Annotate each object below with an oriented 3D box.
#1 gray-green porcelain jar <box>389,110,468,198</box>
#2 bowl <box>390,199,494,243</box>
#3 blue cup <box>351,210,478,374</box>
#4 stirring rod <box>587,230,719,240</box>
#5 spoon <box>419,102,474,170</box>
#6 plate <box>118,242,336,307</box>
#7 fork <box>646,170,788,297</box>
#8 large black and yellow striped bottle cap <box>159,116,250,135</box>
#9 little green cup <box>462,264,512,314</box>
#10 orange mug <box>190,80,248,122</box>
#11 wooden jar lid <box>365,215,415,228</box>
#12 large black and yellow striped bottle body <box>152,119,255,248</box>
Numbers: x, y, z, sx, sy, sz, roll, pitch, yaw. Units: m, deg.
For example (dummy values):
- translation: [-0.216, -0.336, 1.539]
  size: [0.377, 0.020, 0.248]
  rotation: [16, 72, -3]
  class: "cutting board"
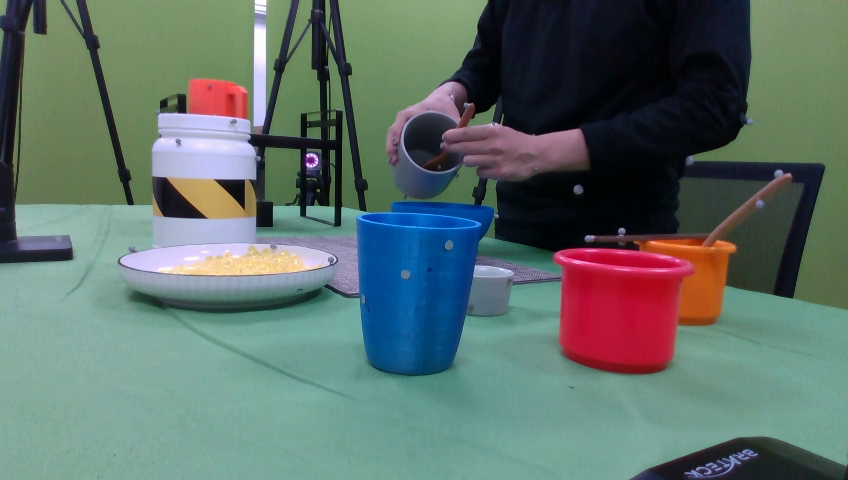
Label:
- translation: [0.002, -0.131, 0.961]
  size: [0.106, 0.105, 0.126]
  rotation: [1, -17, -13]
  class: "gray-green porcelain jar"
- translation: [0.024, -0.015, 0.871]
  size: [0.151, 0.077, 0.151]
  rotation: [3, 7, 0]
  class: "bowl"
- translation: [-0.009, 0.034, 0.414]
  size: [0.093, 0.100, 0.092]
  rotation: [4, 8, 0]
  class: "blue cup"
- translation: [0.226, -0.006, 0.587]
  size: [0.177, 0.006, 0.014]
  rotation: [-2, 10, -29]
  class: "stirring rod"
- translation: [0.033, -0.140, 0.910]
  size: [0.042, 0.021, 0.193]
  rotation: [9, -30, -21]
  class: "spoon"
- translation: [-0.194, 0.033, 0.615]
  size: [0.209, 0.038, 0.209]
  rotation: [2, 7, 0]
  class: "plate"
- translation: [0.256, 0.004, 0.543]
  size: [0.028, 0.018, 0.207]
  rotation: [3, -36, -9]
  class: "fork"
- translation: [-0.292, -0.153, 0.810]
  size: [0.115, 0.019, 0.115]
  rotation: [3, 8, 0]
  class: "large black and yellow striped bottle cap"
- translation: [0.053, 0.047, 0.580]
  size: [0.061, 0.038, 0.061]
  rotation: [3, 8, 0]
  class: "little green cup"
- translation: [-0.394, -0.257, 1.172]
  size: [0.126, 0.100, 0.084]
  rotation: [1, 6, 25]
  class: "orange mug"
- translation: [-0.073, -0.040, 1.291]
  size: [0.108, 0.020, 0.108]
  rotation: [3, 7, 0]
  class: "wooden jar lid"
- translation: [-0.296, -0.070, 0.819]
  size: [0.131, 0.184, 0.130]
  rotation: [2, 7, 0]
  class: "large black and yellow striped bottle body"
